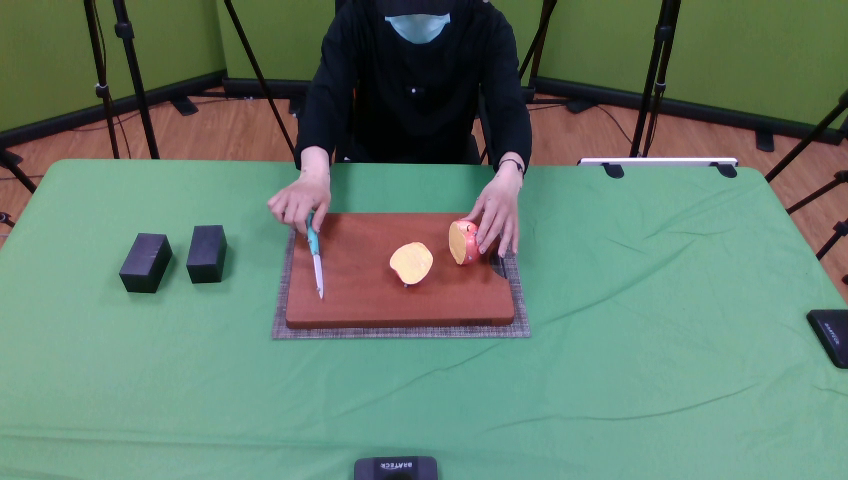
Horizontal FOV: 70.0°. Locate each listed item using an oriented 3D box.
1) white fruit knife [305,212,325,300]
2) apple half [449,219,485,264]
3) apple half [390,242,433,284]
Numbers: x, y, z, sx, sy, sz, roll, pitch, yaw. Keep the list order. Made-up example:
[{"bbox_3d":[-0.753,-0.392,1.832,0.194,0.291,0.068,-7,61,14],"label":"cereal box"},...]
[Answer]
[{"bbox_3d":[-0.199,0.025,1.111,0.016,0.027,0.206,-27,52,13],"label":"white fruit knife"},{"bbox_3d":[0.084,0.002,1.121,0.053,0.075,0.080,-9,40,-20],"label":"apple half"},{"bbox_3d":[-0.017,0.045,1.096,0.081,0.033,0.081,-6,64,13],"label":"apple half"}]
